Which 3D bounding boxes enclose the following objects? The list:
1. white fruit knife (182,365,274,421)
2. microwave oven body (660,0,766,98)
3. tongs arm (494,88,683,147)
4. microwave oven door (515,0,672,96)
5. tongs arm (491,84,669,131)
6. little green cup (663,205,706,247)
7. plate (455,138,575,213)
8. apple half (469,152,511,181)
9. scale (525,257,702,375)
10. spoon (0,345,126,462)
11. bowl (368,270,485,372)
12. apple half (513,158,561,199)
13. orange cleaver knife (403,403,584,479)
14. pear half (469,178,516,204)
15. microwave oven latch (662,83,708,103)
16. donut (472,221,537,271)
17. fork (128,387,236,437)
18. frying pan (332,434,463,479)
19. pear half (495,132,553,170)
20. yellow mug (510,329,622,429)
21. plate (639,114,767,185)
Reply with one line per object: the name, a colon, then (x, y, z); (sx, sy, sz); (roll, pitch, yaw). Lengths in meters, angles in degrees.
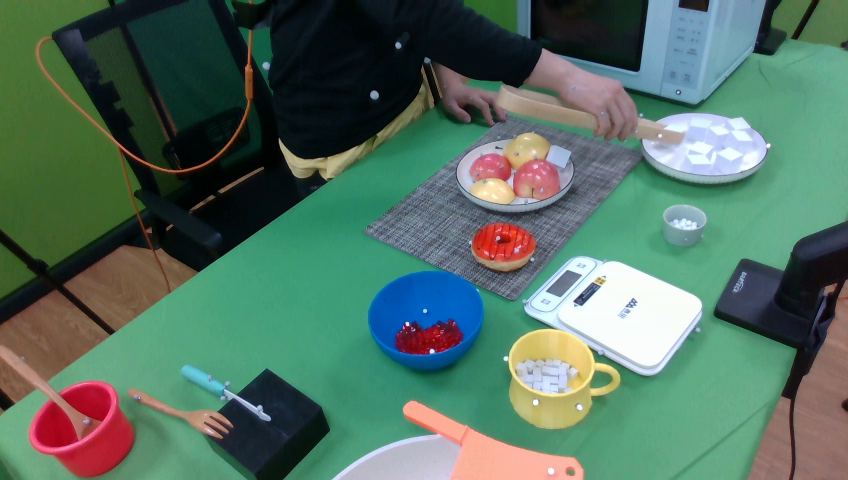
white fruit knife: (-0.245, 0.188, 0.747); (0.205, 0.027, 0.016); (9, 41, 41)
microwave oven body: (0.472, -0.513, 1.317); (0.438, 0.261, 0.327); (26, 51, 34)
tongs arm: (0.288, -0.196, 1.002); (0.390, 0.028, 0.028); (6, 34, -27)
microwave oven door: (0.344, -0.455, 1.259); (0.353, 0.245, 0.039); (26, 51, 33)
tongs arm: (0.279, -0.210, 1.022); (0.388, 0.026, 0.050); (8, 30, -24)
little green cup: (0.396, -0.020, 0.926); (0.061, 0.039, 0.061); (-4, 40, 4)
plate: (0.159, -0.111, 1.063); (0.209, 0.038, 0.208); (-4, 40, 4)
apple half: (0.120, -0.139, 1.088); (0.081, 0.033, 0.081); (0, 44, 0)
scale: (0.254, 0.091, 0.821); (0.199, 0.032, 0.149); (28, 51, 35)
spoon: (-0.434, 0.192, 0.720); (0.194, 0.021, 0.042); (47, 53, -7)
bowl: (0.007, 0.118, 0.791); (0.151, 0.077, 0.150); (-5, 39, 4)
apple half: (0.193, -0.111, 1.031); (0.080, 0.053, 0.075); (12, 41, 26)
orange cleaver knife: (0.062, 0.223, 0.610); (0.210, 0.012, 0.077); (15, 47, 25)
pear half: (0.115, -0.090, 1.035); (0.087, 0.031, 0.071); (27, 38, 31)
microwave oven latch: (0.518, -0.296, 1.204); (0.078, 0.029, 0.030); (27, 52, 35)
donut: (0.123, 0.008, 0.923); (0.099, 0.048, 0.098); (-3, 38, 3)
fork: (-0.305, 0.207, 0.744); (0.206, 0.019, 0.028); (3, 41, 36)
frying pan: (-0.089, 0.306, 0.564); (0.487, 0.103, 0.306); (10, 41, 7)
pear half: (0.174, -0.168, 1.094); (0.109, 0.056, 0.076); (15, 54, 30)
yellow mug: (0.169, 0.164, 0.721); (0.130, 0.064, 0.099); (0, 40, 8)
plate: (0.489, -0.157, 1.074); (0.207, 0.039, 0.206); (-4, 40, 4)
